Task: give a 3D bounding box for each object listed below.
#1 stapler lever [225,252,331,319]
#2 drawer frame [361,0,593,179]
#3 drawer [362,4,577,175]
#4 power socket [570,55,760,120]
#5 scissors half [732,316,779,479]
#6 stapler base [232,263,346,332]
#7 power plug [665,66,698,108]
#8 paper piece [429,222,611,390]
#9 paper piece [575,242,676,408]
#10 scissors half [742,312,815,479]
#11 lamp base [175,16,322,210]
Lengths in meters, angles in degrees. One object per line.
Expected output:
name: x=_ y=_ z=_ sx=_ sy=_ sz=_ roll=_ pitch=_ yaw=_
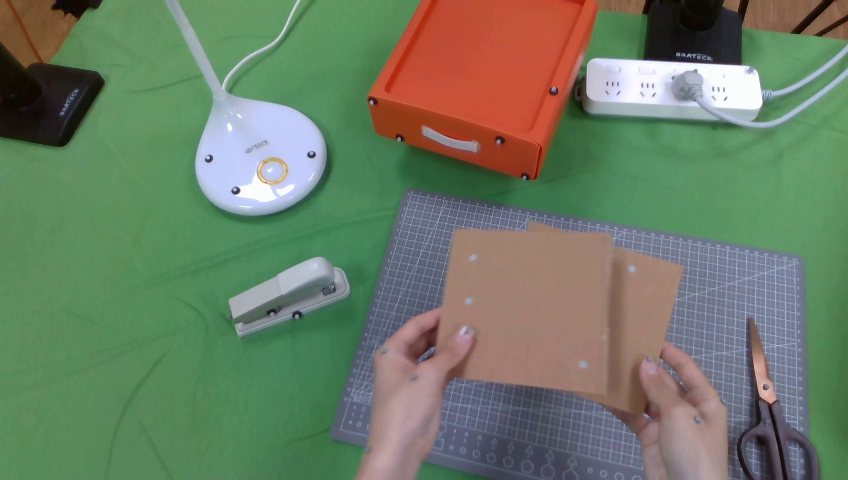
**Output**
stapler lever: x=-0.156 y=0.047 z=0.640 sx=0.118 sy=0.040 sz=0.026 roll=-21 pitch=60 yaw=-5
drawer frame: x=0.064 y=-0.202 z=0.701 sx=0.201 sy=0.083 sz=0.212 roll=19 pitch=67 yaw=13
drawer: x=0.063 y=-0.197 z=0.696 sx=0.194 sy=0.074 sz=0.210 roll=19 pitch=65 yaw=13
power socket: x=0.299 y=-0.191 z=0.755 sx=0.226 sy=0.033 sz=0.071 roll=5 pitch=65 yaw=6
scissors half: x=0.318 y=0.150 z=0.590 sx=0.040 sy=0.013 sz=0.174 roll=14 pitch=61 yaw=-1
stapler base: x=-0.152 y=0.058 z=0.663 sx=0.130 sy=0.024 sz=0.041 roll=-21 pitch=60 yaw=-6
power plug: x=0.303 y=-0.175 z=0.720 sx=0.035 sy=0.053 sz=0.072 roll=15 pitch=65 yaw=11
paper piece: x=0.079 y=0.047 z=0.494 sx=0.135 sy=0.009 sz=0.137 roll=2 pitch=68 yaw=18
paper piece: x=0.131 y=0.057 z=0.500 sx=0.135 sy=0.004 sz=0.135 roll=11 pitch=65 yaw=16
scissors half: x=0.339 y=0.151 z=0.591 sx=0.040 sy=0.013 sz=0.173 roll=-4 pitch=62 yaw=-4
lamp base: x=-0.219 y=-0.149 z=0.682 sx=0.160 sy=0.182 sz=0.177 roll=-40 pitch=65 yaw=-16
